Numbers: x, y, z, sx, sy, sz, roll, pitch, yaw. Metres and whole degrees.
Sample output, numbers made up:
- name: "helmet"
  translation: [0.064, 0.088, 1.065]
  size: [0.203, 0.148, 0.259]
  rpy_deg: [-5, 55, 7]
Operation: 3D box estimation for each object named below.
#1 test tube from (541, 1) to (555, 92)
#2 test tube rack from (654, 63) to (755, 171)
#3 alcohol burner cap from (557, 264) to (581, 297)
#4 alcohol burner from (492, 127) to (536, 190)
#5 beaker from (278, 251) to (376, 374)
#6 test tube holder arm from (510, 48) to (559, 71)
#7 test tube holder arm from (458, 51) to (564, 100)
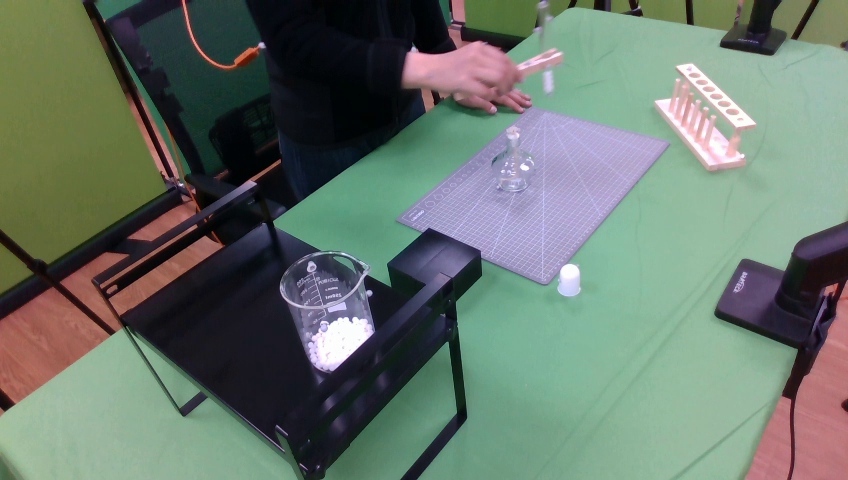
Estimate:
- name: "test tube"
  translation: [0.190, -0.291, 0.924]
  size: [0.017, 0.151, 0.017]
  rpy_deg: [-8, 46, 8]
- name: "test tube rack"
  translation: [0.510, -0.233, 1.120]
  size: [0.067, 0.085, 0.241]
  rpy_deg: [-8, 41, -1]
- name: "alcohol burner cap"
  translation: [0.209, 0.055, 0.866]
  size: [0.034, 0.048, 0.033]
  rpy_deg: [-4, 41, 4]
- name: "alcohol burner"
  translation: [0.156, -0.146, 1.046]
  size: [0.078, 0.119, 0.077]
  rpy_deg: [-4, 43, 4]
- name: "beaker"
  translation: [-0.084, 0.070, 0.570]
  size: [0.084, 0.101, 0.073]
  rpy_deg: [-19, 42, -13]
- name: "test tube holder arm"
  translation: [0.171, -0.273, 0.934]
  size: [0.088, 0.015, 0.010]
  rpy_deg: [-28, 44, -15]
- name: "test tube holder arm"
  translation: [0.134, -0.251, 0.921]
  size: [0.179, 0.015, 0.013]
  rpy_deg: [-24, 42, -10]
